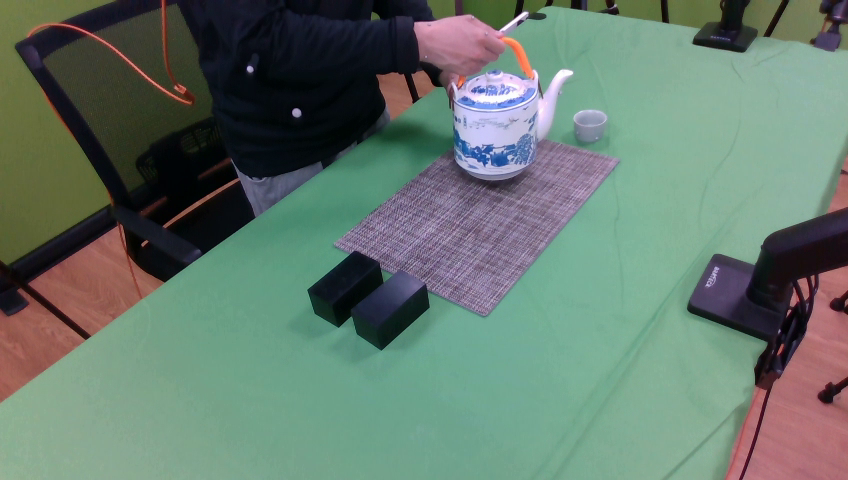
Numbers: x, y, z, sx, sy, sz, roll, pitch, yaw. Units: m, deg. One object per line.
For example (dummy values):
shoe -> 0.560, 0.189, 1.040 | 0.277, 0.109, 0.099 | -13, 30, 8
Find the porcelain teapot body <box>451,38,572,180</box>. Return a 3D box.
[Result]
porcelain teapot body -> 0.147, -0.229, 1.017 | 0.206, 0.226, 0.144 | -11, 38, -6

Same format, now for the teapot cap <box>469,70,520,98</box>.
teapot cap -> 0.115, -0.254, 0.989 | 0.085, 0.044, 0.085 | -2, 40, 2

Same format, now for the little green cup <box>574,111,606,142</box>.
little green cup -> 0.318, -0.217, 1.164 | 0.061, 0.039, 0.061 | -3, 41, 3
